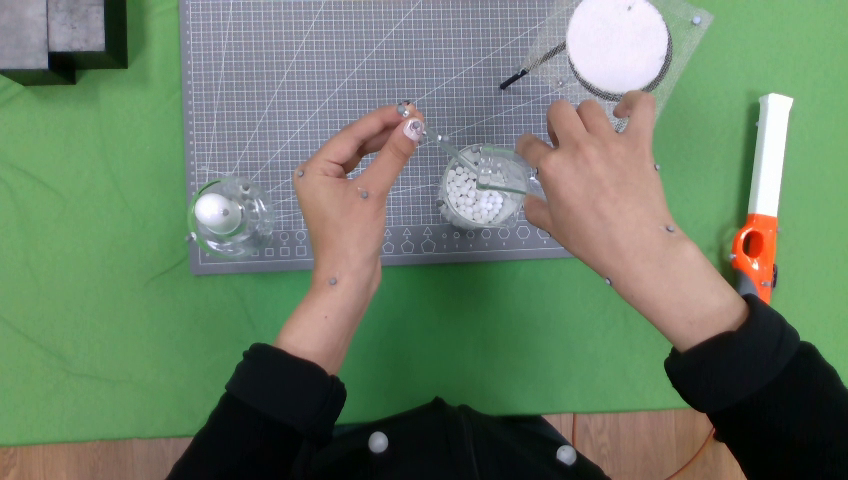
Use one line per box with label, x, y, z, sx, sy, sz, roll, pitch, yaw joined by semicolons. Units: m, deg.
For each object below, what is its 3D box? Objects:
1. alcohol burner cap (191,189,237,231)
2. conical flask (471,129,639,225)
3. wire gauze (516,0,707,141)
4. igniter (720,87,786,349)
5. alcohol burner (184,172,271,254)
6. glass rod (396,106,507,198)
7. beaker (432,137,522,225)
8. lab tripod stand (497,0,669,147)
alcohol burner cap;-0.179;-0.027;0.512;0.034;0.048;0.034;1;82;-7
conical flask;0.099;-0.055;0.477;0.122;0.075;0.075;7;88;0
wire gauze;0.155;-0.165;0.501;0.125;0.011;0.121;30;89;-3
igniter;0.348;-0.022;0.639;0.057;0.025;0.276;8;89;-15
alcohol burner;-0.182;-0.025;0.548;0.078;0.119;0.078;0;90;-3
glass rod;0.030;-0.065;0.491;0.008;0.201;0.008;-8;73;27
beaker;0.047;-0.049;0.575;0.074;0.100;0.084;-38;92;-4
lab tripod stand;0.152;-0.162;0.568;0.148;0.131;0.148;0;90;-3
